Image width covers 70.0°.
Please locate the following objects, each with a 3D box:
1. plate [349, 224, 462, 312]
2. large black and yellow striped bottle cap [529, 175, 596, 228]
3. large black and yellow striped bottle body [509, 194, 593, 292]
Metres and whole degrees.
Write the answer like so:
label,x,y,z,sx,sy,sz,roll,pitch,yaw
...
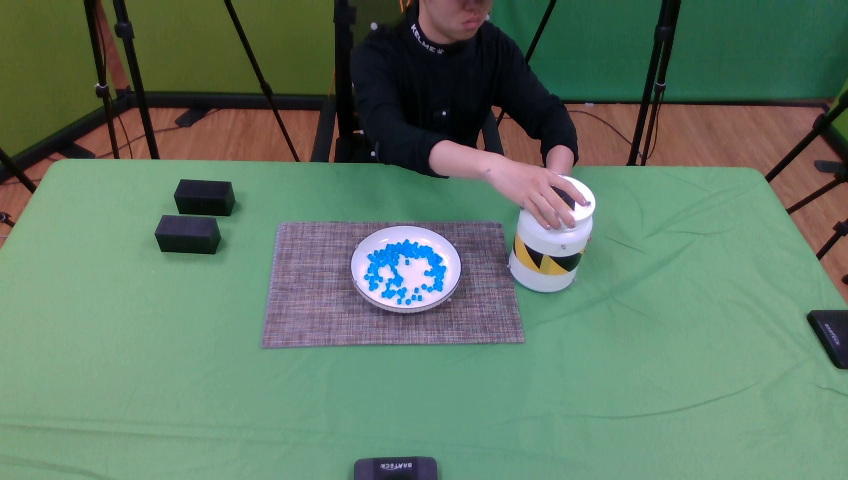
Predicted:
label,x,y,z,sx,sy,sz,roll,pitch,yaw
plate,-0.035,0.054,1.126,0.208,0.039,0.206,2,46,-2
large black and yellow striped bottle cap,0.239,-0.068,1.044,0.115,0.019,0.114,1,49,-1
large black and yellow striped bottle body,0.232,-0.008,1.108,0.131,0.185,0.130,2,46,-2
